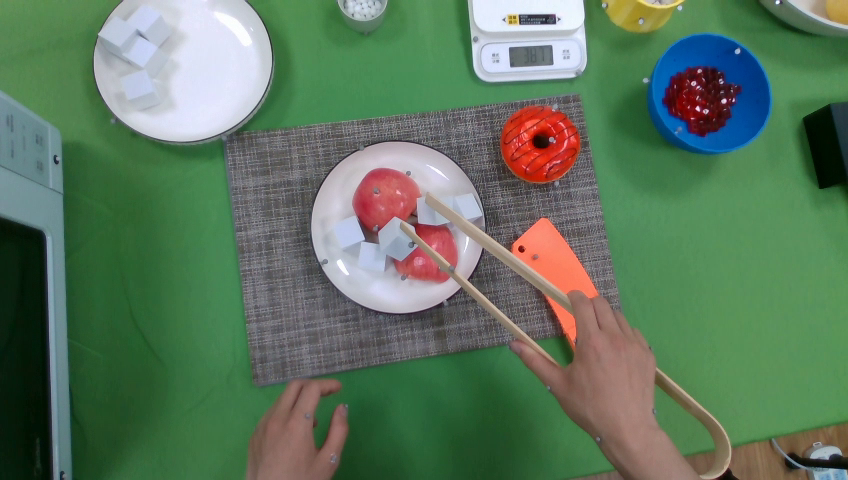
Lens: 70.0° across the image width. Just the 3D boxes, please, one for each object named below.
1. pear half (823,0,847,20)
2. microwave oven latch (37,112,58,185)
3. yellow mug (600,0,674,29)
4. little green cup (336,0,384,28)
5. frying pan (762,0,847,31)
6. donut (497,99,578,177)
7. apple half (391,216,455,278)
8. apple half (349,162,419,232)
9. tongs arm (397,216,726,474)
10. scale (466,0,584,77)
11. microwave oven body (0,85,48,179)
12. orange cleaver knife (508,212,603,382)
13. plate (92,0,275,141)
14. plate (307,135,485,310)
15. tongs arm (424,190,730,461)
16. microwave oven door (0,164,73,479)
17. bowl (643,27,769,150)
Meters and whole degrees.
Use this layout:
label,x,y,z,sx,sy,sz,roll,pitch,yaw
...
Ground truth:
label,x,y,z,sx,sy,sz,roll,pitch,yaw
pear half,0.567,-0.322,0.776,0.076,0.110,0.056,28,81,3
microwave oven latch,-0.431,-0.102,0.681,0.030,0.029,0.079,-4,83,-6
yellow mug,0.274,-0.346,0.780,0.100,0.064,0.130,-41,86,-8
little green cup,-0.079,-0.298,0.757,0.061,0.039,0.061,1,82,-4
frying pan,0.605,-0.328,0.788,0.307,0.103,0.485,-35,79,-7
donut,0.139,-0.126,0.746,0.099,0.048,0.099,0,83,-3
apple half,-0.001,0.007,0.712,0.081,0.033,0.081,0,85,-2
apple half,-0.047,-0.055,0.708,0.074,0.053,0.080,36,80,3
tongs arm,0.126,0.095,0.598,0.383,0.026,0.050,43,71,10
scale,0.128,-0.311,0.780,0.149,0.031,0.200,-4,83,-5
microwave oven body,-0.552,0.072,0.550,0.326,0.260,0.440,-6,83,-6
orange cleaver knife,0.175,0.067,0.736,0.077,0.012,0.210,-26,84,-13
plate,-0.283,-0.216,0.729,0.208,0.039,0.207,1,82,-5
plate,-0.033,-0.021,0.720,0.209,0.038,0.208,1,82,-5
tongs arm,0.144,0.076,0.607,0.386,0.028,0.028,40,67,9
microwave oven door,-0.402,0.100,0.554,0.039,0.244,0.354,-6,82,-5
bowl,0.336,-0.177,0.757,0.151,0.077,0.151,1,83,-5
